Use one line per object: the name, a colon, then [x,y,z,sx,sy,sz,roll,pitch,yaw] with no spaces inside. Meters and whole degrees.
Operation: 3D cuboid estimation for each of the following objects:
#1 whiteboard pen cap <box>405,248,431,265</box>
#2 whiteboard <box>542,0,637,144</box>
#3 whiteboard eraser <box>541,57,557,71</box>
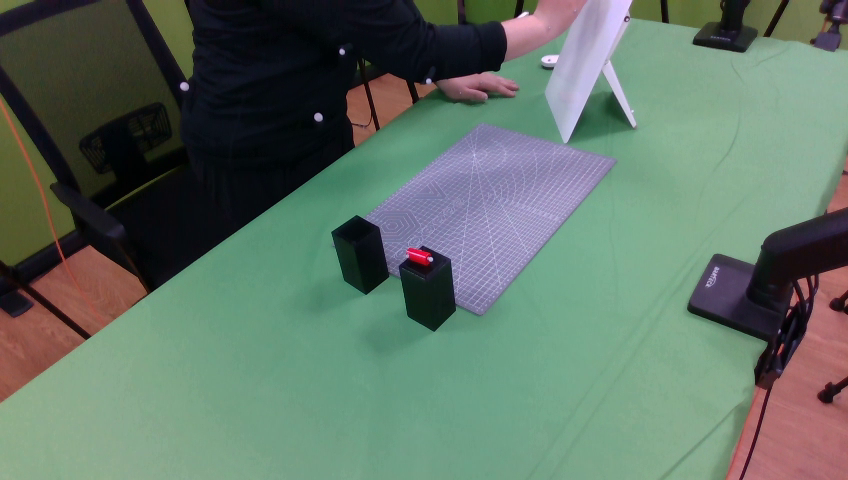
whiteboard pen cap: [-0.008,0.021,0.794,0.032,0.017,0.017,16,45,28]
whiteboard: [0.366,-0.351,1.160,0.144,0.305,0.216,10,39,-10]
whiteboard eraser: [0.324,-0.412,1.408,0.101,0.019,0.041,2,42,11]
